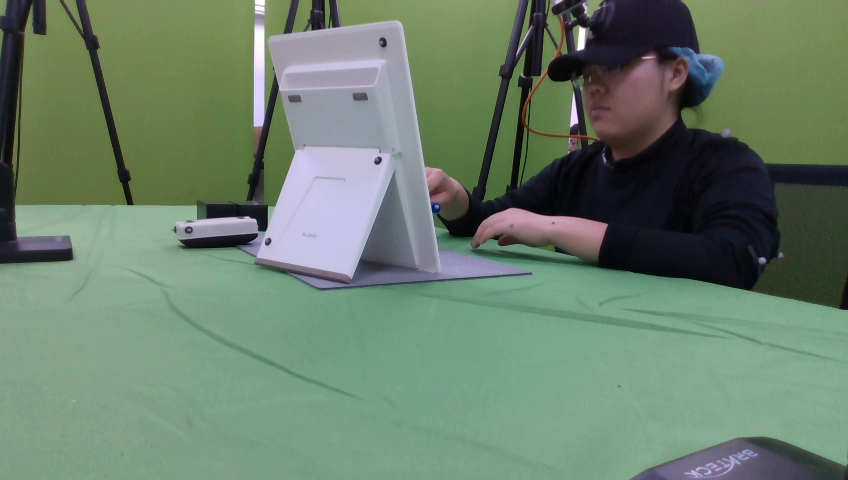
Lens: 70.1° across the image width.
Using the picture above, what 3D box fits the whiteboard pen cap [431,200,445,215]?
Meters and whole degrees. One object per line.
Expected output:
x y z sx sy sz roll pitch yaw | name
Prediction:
0.016 -0.051 0.943 0.033 0.018 0.018 31 20 23 | whiteboard pen cap

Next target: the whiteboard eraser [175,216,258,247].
-0.314 -0.012 0.914 0.113 0.042 0.055 -5 12 -30 | whiteboard eraser

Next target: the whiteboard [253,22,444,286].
-0.125 -0.081 0.715 0.216 0.305 0.144 9 29 36 | whiteboard

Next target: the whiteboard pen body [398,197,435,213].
-0.012 -0.057 0.999 0.017 0.017 0.140 -1 9 -24 | whiteboard pen body
